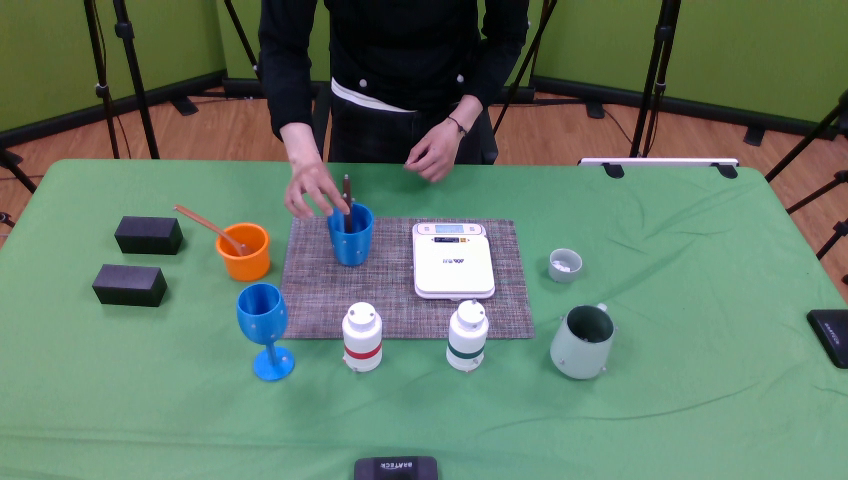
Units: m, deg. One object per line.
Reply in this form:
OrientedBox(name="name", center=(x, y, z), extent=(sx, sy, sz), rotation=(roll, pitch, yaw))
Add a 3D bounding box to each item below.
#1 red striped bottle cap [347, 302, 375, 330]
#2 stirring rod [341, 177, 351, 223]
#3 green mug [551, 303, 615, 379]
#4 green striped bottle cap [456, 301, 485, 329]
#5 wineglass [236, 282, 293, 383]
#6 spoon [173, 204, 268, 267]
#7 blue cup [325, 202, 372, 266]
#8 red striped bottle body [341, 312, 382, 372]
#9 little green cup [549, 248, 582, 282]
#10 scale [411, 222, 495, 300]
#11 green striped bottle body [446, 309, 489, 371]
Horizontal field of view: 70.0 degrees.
OrientedBox(name="red striped bottle cap", center=(-0.097, 0.116, 0.934), extent=(0.044, 0.018, 0.044), rotation=(3, 48, -3))
OrientedBox(name="stirring rod", center=(-0.138, -0.037, 1.082), extent=(0.014, 0.177, 0.006), rotation=(0, 39, -3))
OrientedBox(name="green mug", center=(0.271, 0.157, 1.007), extent=(0.092, 0.105, 0.125), rotation=(27, 50, 21))
OrientedBox(name="green striped bottle cap", center=(0.073, 0.116, 0.943), extent=(0.044, 0.020, 0.044), rotation=(3, 46, -3))
OrientedBox(name="wineglass", center=(-0.243, 0.143, 0.934), extent=(0.074, 0.173, 0.073), rotation=(2, 46, -2))
OrientedBox(name="spoon", center=(-0.363, -0.009, 1.089), extent=(0.021, 0.195, 0.041), rotation=(-32, 33, 26))
OrientedBox(name="blue cup", center=(-0.138, -0.005, 1.130), extent=(0.093, 0.101, 0.092), rotation=(2, 45, -2))
OrientedBox(name="red striped bottle body", center=(-0.100, 0.154, 0.972), extent=(0.063, 0.120, 0.062), rotation=(2, 46, -1))
OrientedBox(name="little green cup", center=(0.268, 0.050, 1.156), extent=(0.061, 0.039, 0.061), rotation=(1, 46, -1))
OrientedBox(name="scale", center=(0.052, 0.031, 1.158), extent=(0.149, 0.032, 0.199), rotation=(1, 46, -4))
OrientedBox(name="green striped bottle body", center=(0.070, 0.155, 0.984), extent=(0.063, 0.120, 0.063), rotation=(2, 46, -2))
